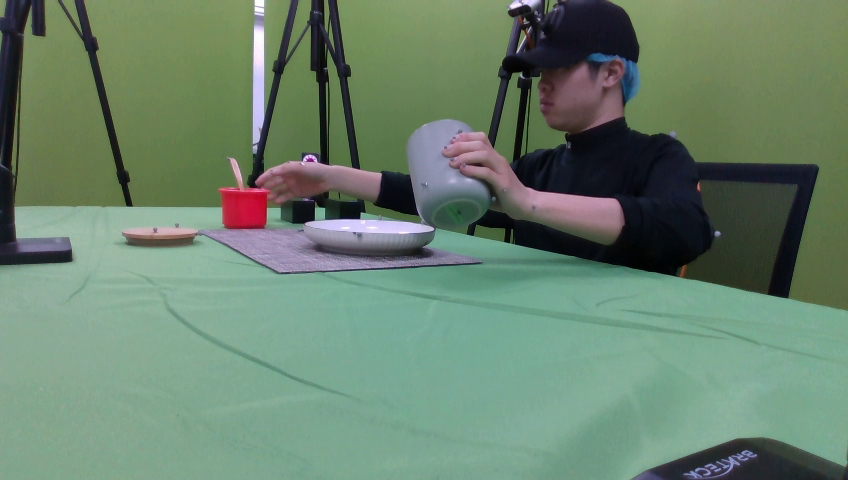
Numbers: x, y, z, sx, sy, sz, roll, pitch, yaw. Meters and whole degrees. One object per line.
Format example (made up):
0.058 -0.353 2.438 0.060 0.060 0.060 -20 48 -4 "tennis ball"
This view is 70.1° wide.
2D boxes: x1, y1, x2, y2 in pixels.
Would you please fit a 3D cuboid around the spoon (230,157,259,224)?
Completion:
-0.366 -0.101 1.215 0.042 0.021 0.193 -1 52 -30 "spoon"

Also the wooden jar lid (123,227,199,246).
-0.408 -0.006 0.942 0.108 0.020 0.108 3 6 0 "wooden jar lid"

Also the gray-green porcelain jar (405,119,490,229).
0.033 -0.087 0.850 0.106 0.126 0.106 -8 -30 -4 "gray-green porcelain jar"

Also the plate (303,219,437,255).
-0.084 -0.005 0.952 0.208 0.039 0.207 3 7 0 "plate"
